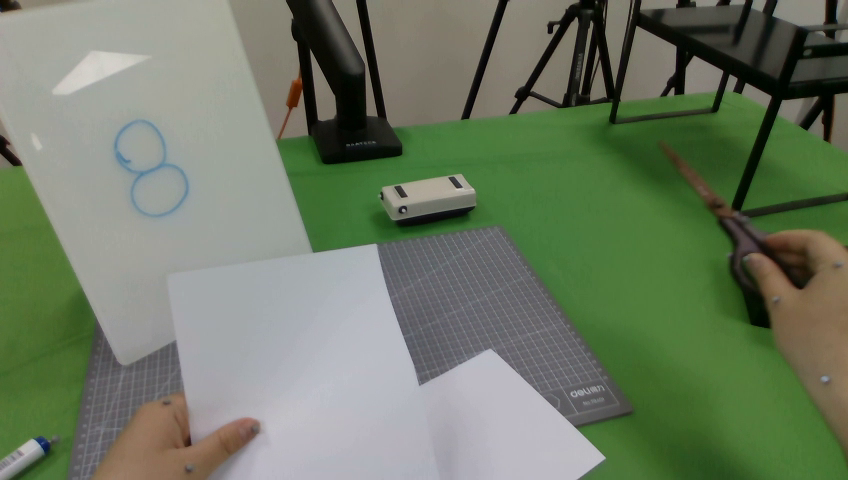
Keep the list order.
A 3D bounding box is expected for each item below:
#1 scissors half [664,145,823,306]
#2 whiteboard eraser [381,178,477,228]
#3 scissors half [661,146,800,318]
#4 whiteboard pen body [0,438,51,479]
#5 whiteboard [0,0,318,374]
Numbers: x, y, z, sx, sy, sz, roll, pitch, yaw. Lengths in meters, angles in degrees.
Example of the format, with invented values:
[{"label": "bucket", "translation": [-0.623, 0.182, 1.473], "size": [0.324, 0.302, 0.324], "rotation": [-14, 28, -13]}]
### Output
[{"label": "scissors half", "translation": [0.257, -0.018, 0.497], "size": [0.040, 0.013, 0.173], "rotation": [-23, 63, -26]}, {"label": "whiteboard eraser", "translation": [0.006, -0.045, 0.759], "size": [0.113, 0.042, 0.055], "rotation": [-10, 39, -18]}, {"label": "scissors half", "translation": [0.239, -0.013, 0.490], "size": [0.040, 0.013, 0.173], "rotation": [-12, 59, -15]}, {"label": "whiteboard pen body", "translation": [-0.331, 0.189, 0.421], "size": [0.017, 0.017, 0.140], "rotation": [22, 38, 25]}, {"label": "whiteboard", "translation": [-0.271, -0.068, 0.601], "size": [0.217, 0.307, 0.143], "rotation": [-29, 25, -36]}]
